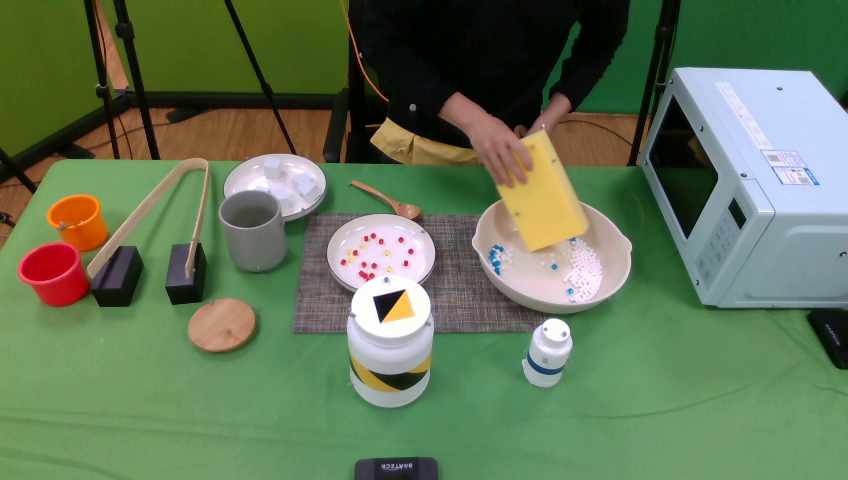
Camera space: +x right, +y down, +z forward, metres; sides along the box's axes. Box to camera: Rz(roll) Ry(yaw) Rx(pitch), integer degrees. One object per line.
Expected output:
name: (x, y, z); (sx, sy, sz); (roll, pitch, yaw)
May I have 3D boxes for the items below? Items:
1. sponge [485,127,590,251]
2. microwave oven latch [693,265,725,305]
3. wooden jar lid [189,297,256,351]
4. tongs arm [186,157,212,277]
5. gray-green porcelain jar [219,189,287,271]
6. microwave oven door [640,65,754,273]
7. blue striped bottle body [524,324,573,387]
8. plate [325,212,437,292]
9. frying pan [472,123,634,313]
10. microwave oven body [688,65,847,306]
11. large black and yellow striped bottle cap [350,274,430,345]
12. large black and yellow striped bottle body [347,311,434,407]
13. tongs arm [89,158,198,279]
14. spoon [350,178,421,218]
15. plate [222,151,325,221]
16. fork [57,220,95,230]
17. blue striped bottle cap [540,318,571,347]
sponge: (0.219, -0.096, 1.162); (0.118, 0.207, 0.061); (-22, 10, 31)
microwave oven latch: (0.522, 0.082, 1.116); (0.030, 0.029, 0.078); (2, 46, -1)
wooden jar lid: (-0.342, 0.145, 1.033); (0.108, 0.021, 0.107); (2, 45, -2)
tongs arm: (-0.445, -0.058, 1.168); (0.051, 0.026, 0.382); (-5, 37, -6)
gray-green porcelain jar: (-0.310, -0.014, 1.113); (0.106, 0.127, 0.105); (2, 46, -2)
microwave oven door: (0.523, -0.147, 1.193); (0.039, 0.245, 0.353); (0, 47, -3)
blue striped bottle body: (0.200, 0.178, 0.970); (0.063, 0.121, 0.062); (2, 46, -2)
plate: (-0.080, 0.030, 1.143); (0.209, 0.038, 0.208); (2, 46, -2)
frying pan: (0.235, -0.060, 1.207); (0.307, 0.103, 0.484); (1, 54, -6)
microwave oven body: (0.669, -0.111, 1.176); (0.326, 0.261, 0.439); (0, 46, -3)
large black and yellow striped bottle cap: (-0.048, 0.097, 0.867); (0.115, 0.019, 0.114); (2, 48, -3)
large black and yellow striped bottle body: (-0.052, 0.157, 0.929); (0.131, 0.185, 0.130); (2, 47, -2)
tongs arm: (-0.529, -0.057, 1.164); (0.028, 0.028, 0.385); (1, 36, 8)
spoon: (-0.084, -0.092, 1.272); (0.193, 0.022, 0.041); (31, 69, 25)
plate: (-0.310, -0.106, 1.262); (0.208, 0.039, 0.206); (2, 47, -2)
fork: (-0.624, -0.027, 1.087); (0.028, 0.207, 0.018); (-3, 92, -17)
blue striped bottle cap: (0.203, 0.142, 0.933); (0.044, 0.021, 0.044); (3, 49, -3)
